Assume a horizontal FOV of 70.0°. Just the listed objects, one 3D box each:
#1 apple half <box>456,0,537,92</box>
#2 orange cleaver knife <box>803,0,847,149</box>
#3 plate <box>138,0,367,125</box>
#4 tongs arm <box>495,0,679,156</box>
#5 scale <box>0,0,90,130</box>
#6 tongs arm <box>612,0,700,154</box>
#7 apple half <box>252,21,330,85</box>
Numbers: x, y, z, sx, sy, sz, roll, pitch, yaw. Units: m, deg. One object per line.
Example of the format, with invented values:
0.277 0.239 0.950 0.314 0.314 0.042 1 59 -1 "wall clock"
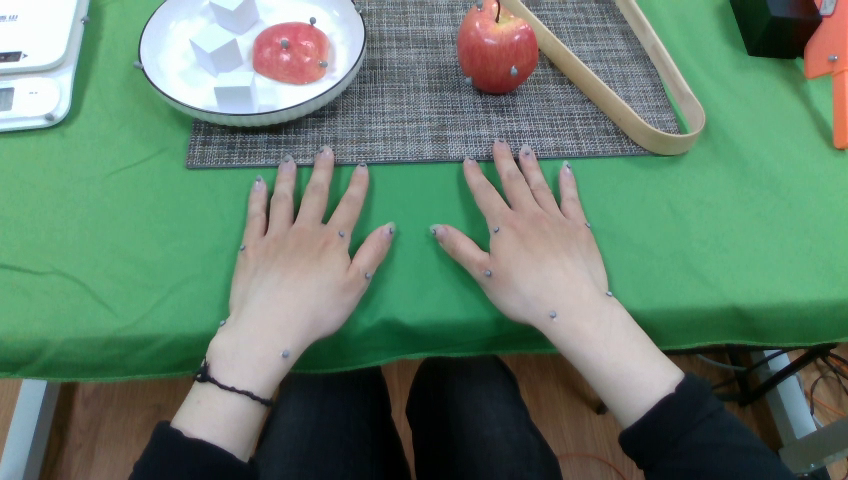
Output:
0.059 -0.174 0.564 0.053 0.075 0.080 -37 70 -18 "apple half"
0.396 -0.189 0.588 0.012 0.077 0.211 3 87 -5 "orange cleaver knife"
-0.158 -0.183 0.580 0.209 0.038 0.207 1 57 -2 "plate"
0.118 -0.222 0.624 0.028 0.028 0.384 -23 62 -21 "tongs arm"
-0.406 -0.184 0.577 0.149 0.032 0.199 -7 59 -7 "scale"
0.196 -0.246 0.641 0.051 0.027 0.381 -12 60 -11 "tongs arm"
-0.128 -0.187 0.578 0.081 0.033 0.080 3 58 -5 "apple half"
